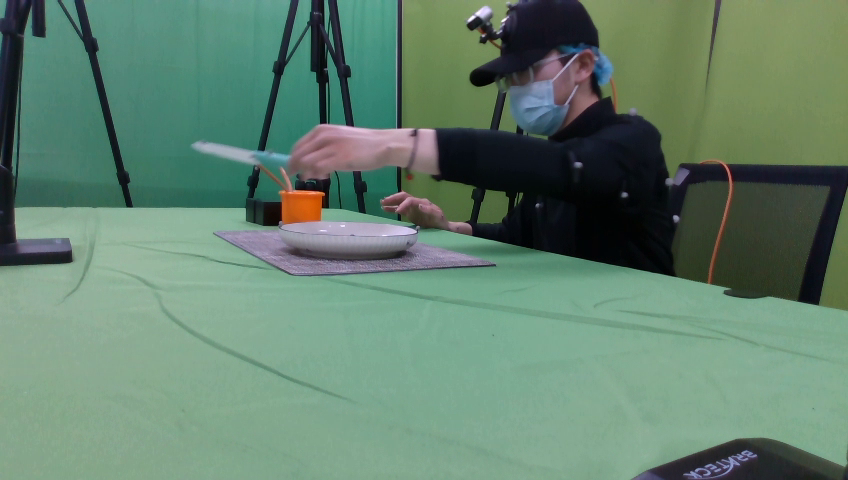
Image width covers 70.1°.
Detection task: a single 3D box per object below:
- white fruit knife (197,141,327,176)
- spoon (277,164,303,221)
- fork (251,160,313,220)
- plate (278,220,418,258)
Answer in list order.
[{"bbox_3d":[-0.249,-0.128,0.923,0.207,0.027,0.016,12,48,4],"label":"white fruit knife"},{"bbox_3d":[-0.280,-0.107,1.247,0.021,0.193,0.042,-28,-29,9],"label":"spoon"},{"bbox_3d":[-0.275,-0.096,1.188,0.028,0.018,0.208,27,-20,48],"label":"fork"},{"bbox_3d":[-0.114,-0.002,0.914,0.209,0.038,0.209,2,7,0],"label":"plate"}]
